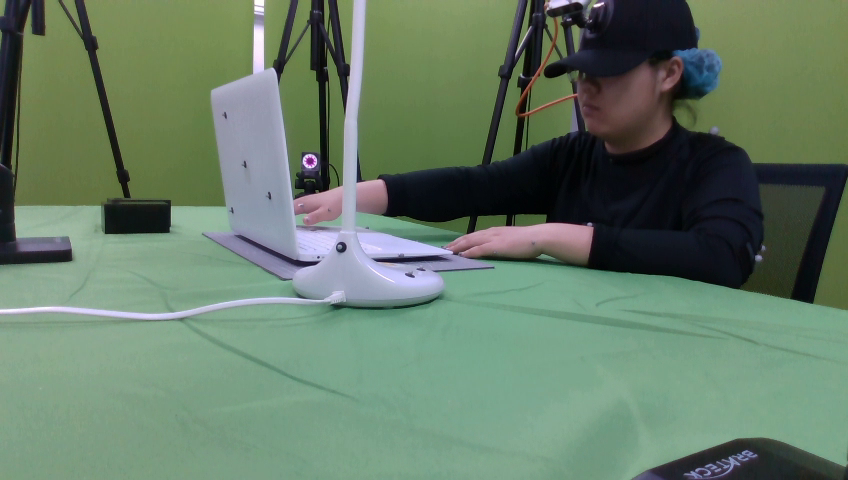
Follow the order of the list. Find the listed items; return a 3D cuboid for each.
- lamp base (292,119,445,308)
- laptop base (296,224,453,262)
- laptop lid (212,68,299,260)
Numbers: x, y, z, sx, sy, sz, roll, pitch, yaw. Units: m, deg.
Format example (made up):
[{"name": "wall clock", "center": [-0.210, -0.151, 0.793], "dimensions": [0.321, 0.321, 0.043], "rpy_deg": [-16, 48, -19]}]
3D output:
[{"name": "lamp base", "center": [-0.056, -0.030, 0.616], "dimensions": [0.160, 0.180, 0.179], "rpy_deg": [3, 10, 8]}, {"name": "laptop base", "center": [-0.143, 0.003, 0.957], "dimensions": [0.237, 0.023, 0.352], "rpy_deg": [2, 6, -31]}, {"name": "laptop lid", "center": [-0.254, -0.110, 0.872], "dimensions": [0.013, 0.241, 0.355], "rpy_deg": [-11, 14, -29]}]
